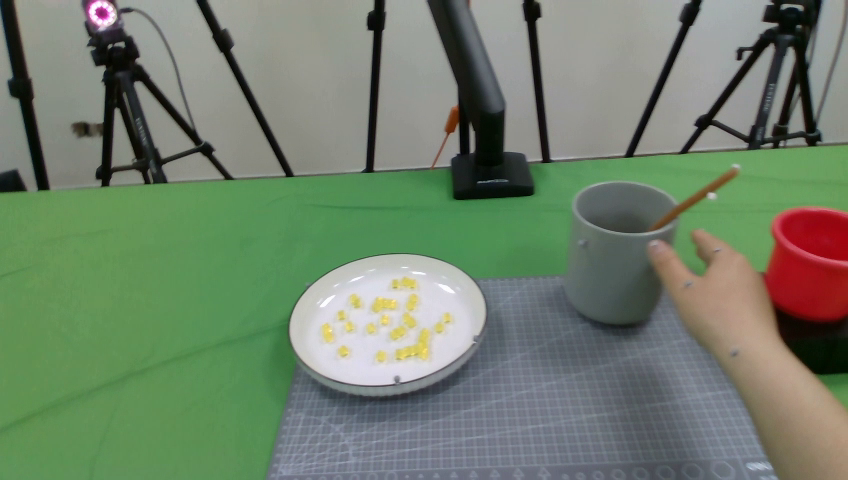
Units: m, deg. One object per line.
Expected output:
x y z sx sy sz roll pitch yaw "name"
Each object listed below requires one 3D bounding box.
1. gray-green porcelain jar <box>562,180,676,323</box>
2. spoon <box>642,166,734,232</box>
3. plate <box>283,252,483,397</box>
0.202 0.016 0.643 0.106 0.127 0.105 -3 35 2 "gray-green porcelain jar"
0.227 -0.010 0.601 0.042 0.194 0.021 -26 69 -43 "spoon"
-0.041 0.089 0.641 0.207 0.039 0.205 -2 35 2 "plate"
